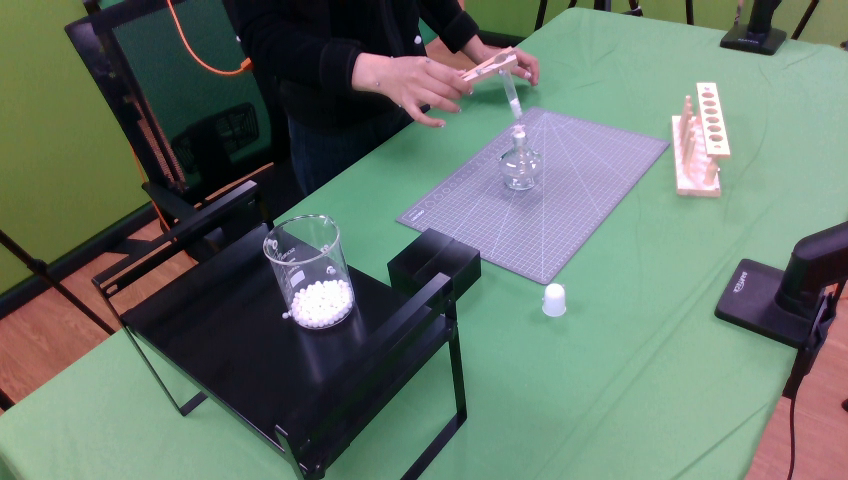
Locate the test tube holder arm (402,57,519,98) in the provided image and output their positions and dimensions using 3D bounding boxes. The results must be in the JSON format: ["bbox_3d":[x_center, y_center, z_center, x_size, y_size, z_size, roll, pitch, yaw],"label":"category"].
[{"bbox_3d":[0.051,-0.238,0.889,0.178,0.015,0.013,-14,83,16],"label":"test tube holder arm"}]

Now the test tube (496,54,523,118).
[{"bbox_3d":[0.134,-0.234,0.933,0.017,0.151,0.017,-7,66,17],"label":"test tube"}]

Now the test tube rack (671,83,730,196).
[{"bbox_3d":[0.482,-0.184,1.067,0.066,0.085,0.242,5,42,15],"label":"test tube rack"}]

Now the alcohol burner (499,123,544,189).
[{"bbox_3d":[0.168,-0.149,1.048,0.078,0.119,0.077,-6,41,5],"label":"alcohol burner"}]

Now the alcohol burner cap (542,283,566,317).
[{"bbox_3d":[0.181,0.080,0.839,0.034,0.048,0.033,-4,40,4],"label":"alcohol burner cap"}]

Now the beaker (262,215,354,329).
[{"bbox_3d":[-0.112,0.034,0.616,0.073,0.101,0.084,13,44,23],"label":"beaker"}]

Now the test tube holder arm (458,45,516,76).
[{"bbox_3d":[0.091,-0.257,0.878,0.087,0.015,0.010,-25,81,14],"label":"test tube holder arm"}]
